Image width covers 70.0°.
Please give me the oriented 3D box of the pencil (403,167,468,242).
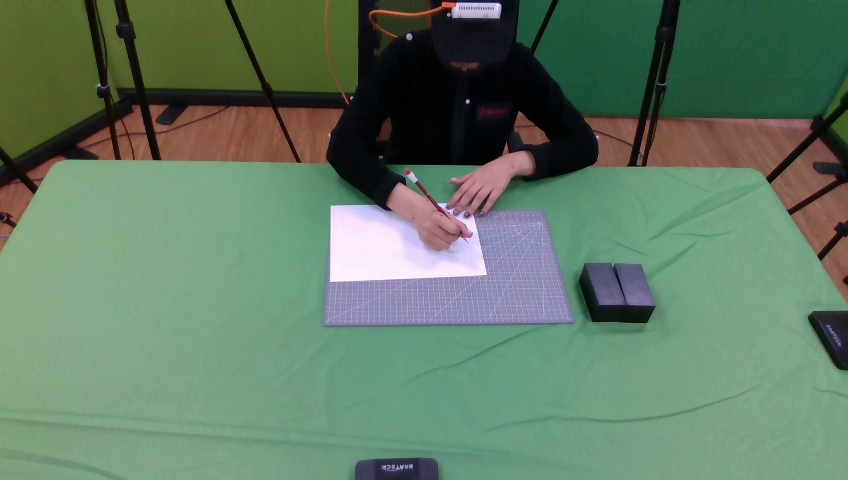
[{"bbox_3d":[0.024,-0.064,1.152,0.012,0.195,0.012,-36,22,17],"label":"pencil"}]
